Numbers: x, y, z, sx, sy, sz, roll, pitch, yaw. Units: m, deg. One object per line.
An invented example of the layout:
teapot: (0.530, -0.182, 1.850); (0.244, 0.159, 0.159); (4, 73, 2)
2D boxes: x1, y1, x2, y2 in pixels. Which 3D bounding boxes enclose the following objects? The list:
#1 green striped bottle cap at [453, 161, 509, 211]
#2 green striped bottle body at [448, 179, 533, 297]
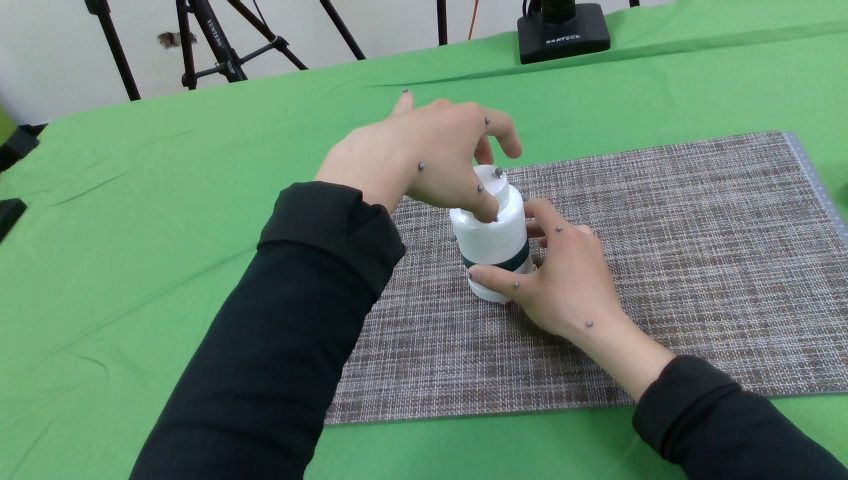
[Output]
green striped bottle cap: (0.046, -0.044, 0.493); (0.044, 0.020, 0.044); (-12, 40, 11)
green striped bottle body: (0.058, -0.009, 0.530); (0.063, 0.120, 0.062); (-9, 45, 10)
